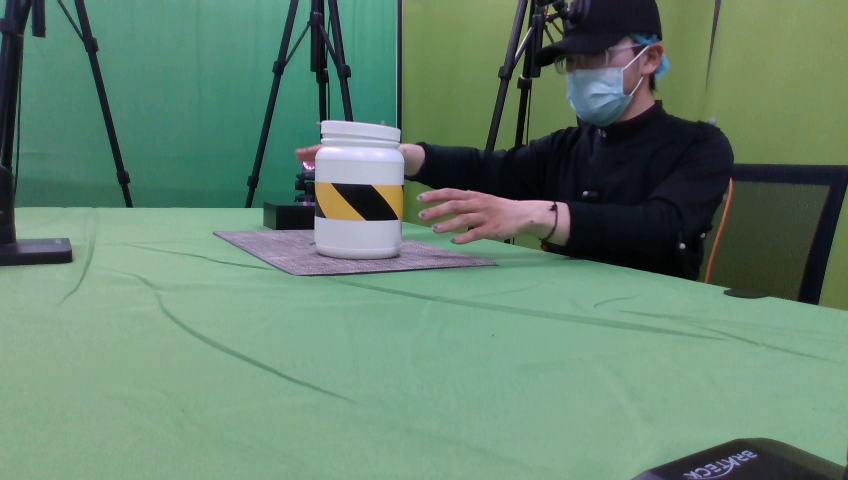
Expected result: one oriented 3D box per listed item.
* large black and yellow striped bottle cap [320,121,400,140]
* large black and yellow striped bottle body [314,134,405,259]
[{"bbox_3d":[-0.091,-0.157,0.873,0.115,0.019,0.115,4,6,0],"label":"large black and yellow striped bottle cap"},{"bbox_3d":[-0.095,-0.072,0.886,0.131,0.184,0.130,2,8,0],"label":"large black and yellow striped bottle body"}]
